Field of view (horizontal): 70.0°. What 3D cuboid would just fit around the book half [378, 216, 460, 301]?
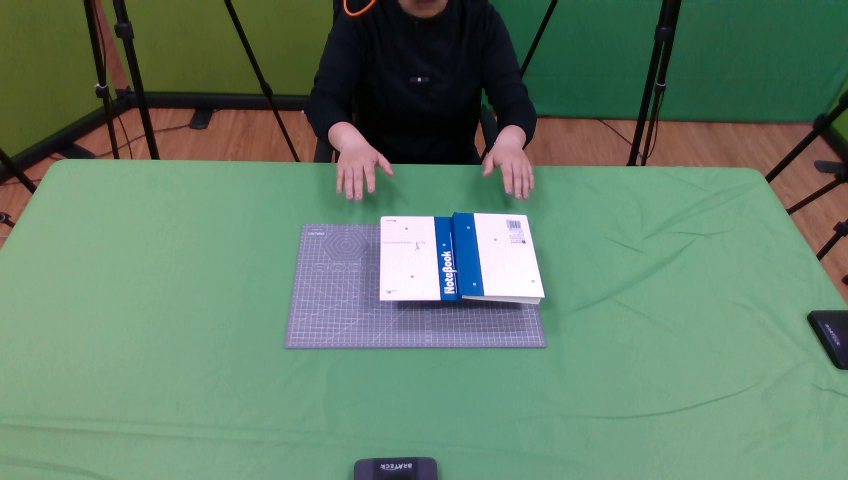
[{"bbox_3d":[-0.011,0.029,1.111,0.143,0.007,0.208,0,46,-4],"label":"book half"}]

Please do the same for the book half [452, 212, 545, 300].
[{"bbox_3d":[0.132,0.026,1.116,0.149,0.016,0.209,2,45,-5],"label":"book half"}]
